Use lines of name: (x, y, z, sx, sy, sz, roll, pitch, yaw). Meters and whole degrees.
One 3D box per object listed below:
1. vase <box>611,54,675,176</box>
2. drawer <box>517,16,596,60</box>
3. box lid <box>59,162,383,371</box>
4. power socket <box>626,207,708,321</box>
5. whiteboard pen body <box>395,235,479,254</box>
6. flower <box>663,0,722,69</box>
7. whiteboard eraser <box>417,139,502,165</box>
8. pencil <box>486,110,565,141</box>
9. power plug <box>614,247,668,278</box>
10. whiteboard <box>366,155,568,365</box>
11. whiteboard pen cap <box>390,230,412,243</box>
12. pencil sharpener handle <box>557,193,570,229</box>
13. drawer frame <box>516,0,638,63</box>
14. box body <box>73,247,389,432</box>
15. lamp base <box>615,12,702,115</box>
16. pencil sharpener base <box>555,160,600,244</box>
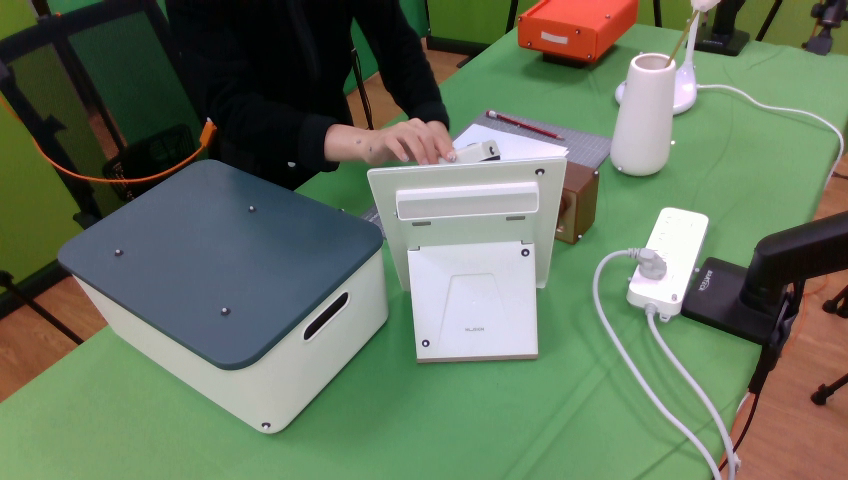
vase: (0.377, -0.209, 1.031, 0.098, 0.201, 0.097, -3, 40, 3)
drawer: (0.352, -0.506, 1.405, 0.193, 0.073, 0.212, 23, 49, 32)
box lid: (-0.262, 0.010, 0.777, 0.369, 0.015, 0.264, 21, 48, 29)
power socket: (0.359, 0.025, 0.886, 0.072, 0.033, 0.227, 16, 46, 26)
whiteboard pen body: (0.019, 0.006, 0.963, 0.140, 0.017, 0.017, 9, 43, 17)
flower: (0.379, -0.261, 0.965, 0.044, 0.362, 0.038, 20, 53, 5)
whiteboard eraser: (0.038, -0.090, 0.749, 0.112, 0.042, 0.056, -16, 7, 28)
pencil: (0.204, -0.232, 1.226, 0.192, 0.012, 0.012, 29, 52, 33)
power plug: (0.306, 0.031, 0.851, 0.072, 0.053, 0.035, 24, 49, 33)
whiteboard: (0.059, 0.050, 0.738, 0.217, 0.307, 0.143, -3, 60, 5)
whiteboard pen cap: (-0.037, -0.006, 0.980, 0.033, 0.018, 0.018, 9, 43, 16)
pencil sharpener handle: (0.195, -0.038, 0.908, 0.035, 0.068, 0.031, 24, 50, 31)
drawer frame: (0.355, -0.508, 1.411, 0.200, 0.083, 0.214, 23, 51, 32)
box body: (-0.255, 0.065, 0.827, 0.361, 0.161, 0.255, 21, 48, 29)
lamp base: (0.484, -0.364, 1.211, 0.180, 0.181, 0.159, -15, 41, -14)
pencil sharpener base: (0.228, -0.057, 0.945, 0.061, 0.107, 0.077, 24, 50, 31)
